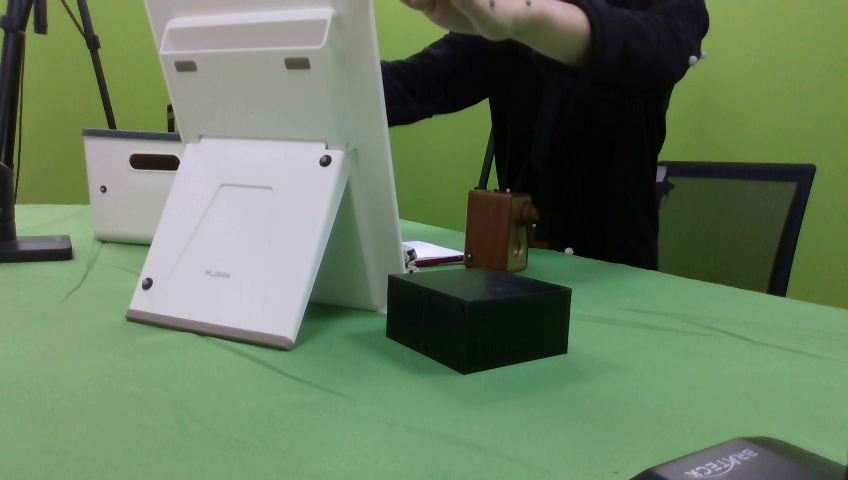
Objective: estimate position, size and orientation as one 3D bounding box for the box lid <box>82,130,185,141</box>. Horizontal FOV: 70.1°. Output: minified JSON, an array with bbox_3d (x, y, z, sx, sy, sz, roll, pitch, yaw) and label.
[{"bbox_3d":[-0.337,-0.161,1.011,0.263,0.015,0.372,4,7,11],"label":"box lid"}]

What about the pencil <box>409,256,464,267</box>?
[{"bbox_3d":[0.041,0.028,0.849,0.012,0.012,0.195,10,10,44],"label":"pencil"}]

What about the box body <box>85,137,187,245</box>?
[{"bbox_3d":[-0.340,-0.088,1.022,0.254,0.160,0.364,4,7,11],"label":"box body"}]

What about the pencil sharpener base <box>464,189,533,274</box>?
[{"bbox_3d":[0.103,-0.012,0.812,0.076,0.107,0.061,8,9,36],"label":"pencil sharpener base"}]

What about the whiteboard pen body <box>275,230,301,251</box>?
[{"bbox_3d":[-0.203,0.002,0.894,0.017,0.017,0.140,2,9,-1],"label":"whiteboard pen body"}]

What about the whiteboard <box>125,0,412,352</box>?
[{"bbox_3d":[-0.151,-0.050,0.471,0.216,0.305,0.144,6,27,24],"label":"whiteboard"}]

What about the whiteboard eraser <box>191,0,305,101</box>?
[{"bbox_3d":[-0.153,-0.174,0.514,0.112,0.055,0.042,-39,8,34],"label":"whiteboard eraser"}]

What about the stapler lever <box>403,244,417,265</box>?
[{"bbox_3d":[-0.066,0.003,0.754,0.117,0.040,0.027,9,14,23],"label":"stapler lever"}]

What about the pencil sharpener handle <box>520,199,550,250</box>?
[{"bbox_3d":[0.146,-0.019,0.784,0.030,0.068,0.036,8,23,36],"label":"pencil sharpener handle"}]

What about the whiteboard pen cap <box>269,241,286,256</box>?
[{"bbox_3d":[-0.202,0.012,0.836,0.018,0.018,0.033,2,9,-1],"label":"whiteboard pen cap"}]

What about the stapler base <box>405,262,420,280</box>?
[{"bbox_3d":[-0.069,0.027,0.759,0.130,0.024,0.041,10,14,23],"label":"stapler base"}]
